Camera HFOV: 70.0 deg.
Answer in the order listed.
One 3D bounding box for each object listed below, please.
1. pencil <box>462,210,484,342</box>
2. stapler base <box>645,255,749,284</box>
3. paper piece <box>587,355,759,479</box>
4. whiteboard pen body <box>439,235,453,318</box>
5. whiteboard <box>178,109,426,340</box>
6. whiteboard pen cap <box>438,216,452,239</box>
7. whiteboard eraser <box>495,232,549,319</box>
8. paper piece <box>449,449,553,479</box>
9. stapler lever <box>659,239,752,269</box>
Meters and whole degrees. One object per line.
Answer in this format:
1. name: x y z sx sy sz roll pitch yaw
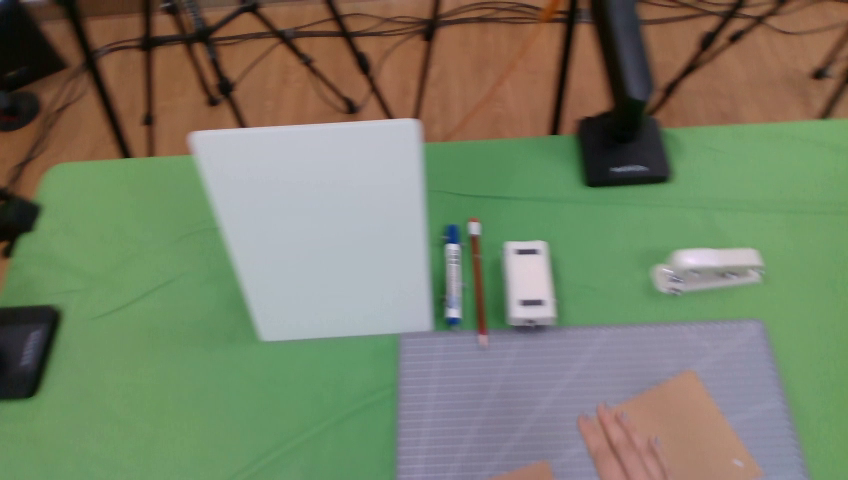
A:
1. pencil: 0.064 0.042 0.791 0.012 0.012 0.192 -6 61 0
2. stapler base: 0.352 0.027 0.776 0.131 0.024 0.041 -7 63 -3
3. paper piece: 0.276 0.218 0.679 0.136 0.009 0.137 -25 64 -6
4. whiteboard pen body: 0.028 0.035 0.793 0.017 0.017 0.139 -2 60 2
5. whiteboard: -0.114 -0.041 0.714 0.217 0.308 0.142 -3 41 2
6. whiteboard pen cap: 0.029 -0.015 0.820 0.018 0.018 0.033 -4 59 1
7. whiteboard eraser: 0.123 0.045 0.769 0.055 0.042 0.111 -4 61 2
8. paper piece: 0.088 0.307 0.639 0.135 0.004 0.134 -15 62 -7
9. stapler lever: 0.353 0.015 0.756 0.118 0.040 0.026 -8 63 -2
